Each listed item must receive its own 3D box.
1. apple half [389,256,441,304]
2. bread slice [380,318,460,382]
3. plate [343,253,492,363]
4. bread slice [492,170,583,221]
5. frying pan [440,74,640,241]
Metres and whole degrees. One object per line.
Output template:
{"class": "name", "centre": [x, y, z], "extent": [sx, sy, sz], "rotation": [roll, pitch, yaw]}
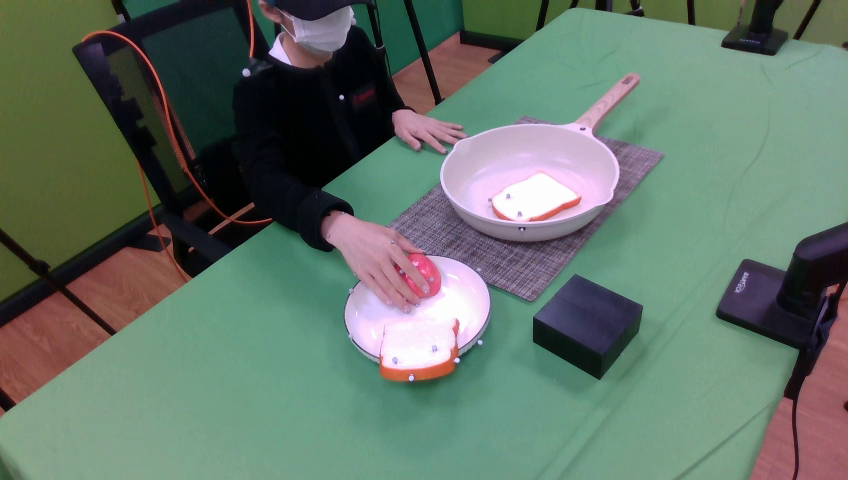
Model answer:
{"class": "apple half", "centre": [-0.015, 0.052, 0.880], "extent": [0.081, 0.033, 0.081], "rotation": [1, 57, -1]}
{"class": "bread slice", "centre": [-0.005, 0.137, 0.770], "extent": [0.105, 0.019, 0.131], "rotation": [-6, 19, 4]}
{"class": "plate", "centre": [-0.008, 0.100, 0.847], "extent": [0.207, 0.039, 0.206], "rotation": [-4, 40, 4]}
{"class": "bread slice", "centre": [0.183, -0.066, 1.015], "extent": [0.135, 0.018, 0.106], "rotation": [-28, 43, -23]}
{"class": "frying pan", "centre": [0.245, -0.161, 1.058], "extent": [0.304, 0.103, 0.489], "rotation": [30, 61, 35]}
